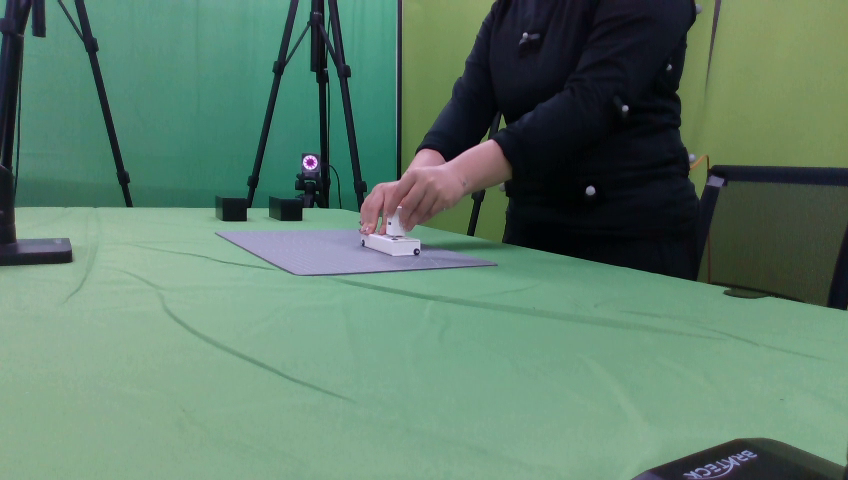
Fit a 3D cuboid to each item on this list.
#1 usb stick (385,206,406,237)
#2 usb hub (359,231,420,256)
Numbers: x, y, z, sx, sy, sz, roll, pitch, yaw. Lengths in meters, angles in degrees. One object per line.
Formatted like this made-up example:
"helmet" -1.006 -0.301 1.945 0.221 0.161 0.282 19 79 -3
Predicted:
"usb stick" -0.044 -0.022 0.934 0.027 0.059 0.021 -6 15 -33
"usb hub" -0.057 0.005 0.952 0.050 0.025 0.124 -3 8 -29
